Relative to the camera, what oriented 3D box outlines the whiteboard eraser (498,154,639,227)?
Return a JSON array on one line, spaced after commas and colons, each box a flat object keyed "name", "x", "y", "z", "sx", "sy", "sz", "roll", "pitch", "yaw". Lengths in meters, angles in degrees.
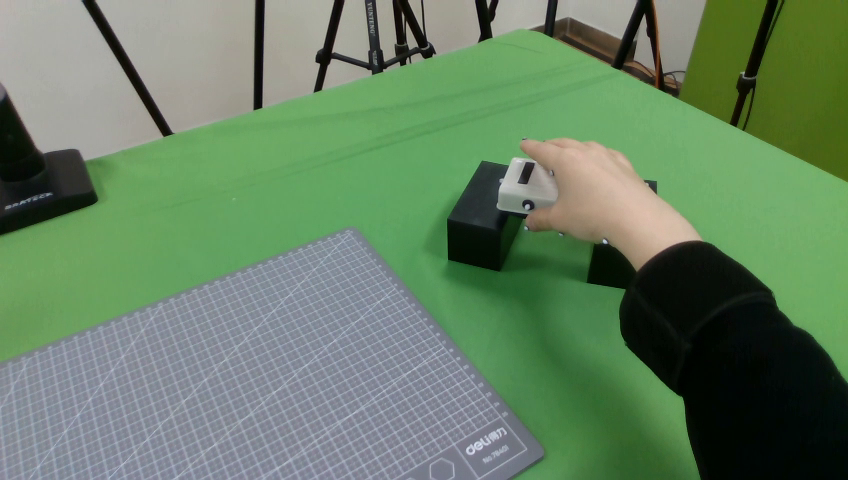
[{"name": "whiteboard eraser", "x": 0.124, "y": -0.041, "z": 0.522, "sx": 0.112, "sy": 0.042, "sz": 0.055, "roll": 9, "pitch": 44, "yaw": 18}]
